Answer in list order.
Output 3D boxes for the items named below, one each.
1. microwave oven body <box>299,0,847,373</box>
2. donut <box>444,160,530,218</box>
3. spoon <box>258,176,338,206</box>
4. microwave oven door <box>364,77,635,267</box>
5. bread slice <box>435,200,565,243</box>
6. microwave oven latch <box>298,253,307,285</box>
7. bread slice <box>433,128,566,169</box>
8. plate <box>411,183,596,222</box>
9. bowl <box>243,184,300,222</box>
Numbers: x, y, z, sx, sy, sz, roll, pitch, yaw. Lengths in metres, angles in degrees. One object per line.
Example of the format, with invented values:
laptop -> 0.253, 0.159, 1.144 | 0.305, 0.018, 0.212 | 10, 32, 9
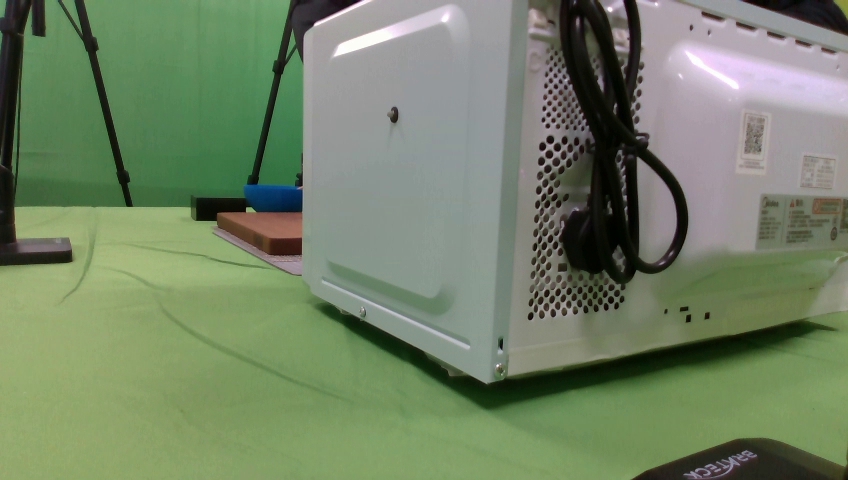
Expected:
microwave oven body -> 0.151, -0.055, 0.543 | 0.444, 0.260, 0.324 | -2, 7, -33
donut -> 0.071, -0.059, 0.686 | 0.099, 0.048, 0.099 | 13, -13, 3
spoon -> -0.279, -0.112, 1.356 | 0.194, 0.021, 0.041 | -27, 19, -27
microwave oven door -> 0.091, -0.098, 0.823 | 0.355, 0.243, 0.039 | 4, 7, 15
bread slice -> 0.090, -0.019, 0.663 | 0.105, 0.019, 0.131 | 11, -13, -30
microwave oven latch -> -0.081, 0.027, 0.583 | 0.079, 0.029, 0.030 | -2, 7, -33
bread slice -> 0.092, -0.104, 0.690 | 0.133, 0.018, 0.107 | 18, 10, 36
plate -> 0.089, -0.043, 0.693 | 0.208, 0.039, 0.207 | 2, 5, 0
bowl -> -0.322, -0.081, 1.334 | 0.151, 0.077, 0.151 | 3, 8, 0
